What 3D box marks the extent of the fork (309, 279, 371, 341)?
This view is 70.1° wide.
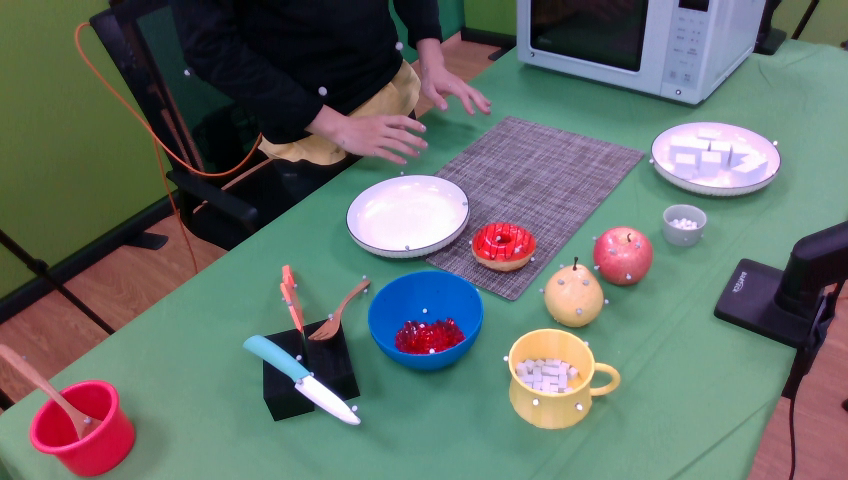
[{"bbox_3d":[-0.109,0.093,0.832,0.028,0.018,0.207,-4,19,15],"label":"fork"}]

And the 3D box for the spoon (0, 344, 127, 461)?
[{"bbox_3d":[-0.433,0.191,0.721,0.194,0.021,0.042,47,53,-6],"label":"spoon"}]

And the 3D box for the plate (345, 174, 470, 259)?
[{"bbox_3d":[-0.026,-0.037,1.004,0.209,0.038,0.208,-4,40,4],"label":"plate"}]

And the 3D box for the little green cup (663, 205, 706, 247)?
[{"bbox_3d":[0.396,-0.021,0.926,0.061,0.039,0.061,-4,40,4],"label":"little green cup"}]

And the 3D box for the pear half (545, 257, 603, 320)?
[{"bbox_3d":[0.197,0.056,0.811,0.076,0.110,0.055,-14,41,-13],"label":"pear half"}]

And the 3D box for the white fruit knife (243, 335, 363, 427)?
[{"bbox_3d":[-0.148,0.167,0.729,0.206,0.016,0.027,27,80,31],"label":"white fruit knife"}]

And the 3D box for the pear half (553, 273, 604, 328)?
[{"bbox_3d":[0.208,0.086,0.791,0.071,0.088,0.031,-14,39,-15],"label":"pear half"}]

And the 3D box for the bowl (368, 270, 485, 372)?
[{"bbox_3d":[0.007,0.118,0.791,0.151,0.077,0.150,-5,40,4],"label":"bowl"}]

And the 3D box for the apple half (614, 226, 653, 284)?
[{"bbox_3d":[0.298,0.023,0.864,0.053,0.075,0.080,-3,37,1],"label":"apple half"}]

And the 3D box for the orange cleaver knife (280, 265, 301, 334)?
[{"bbox_3d":[-0.188,0.081,0.862,0.012,0.077,0.210,-20,12,-9],"label":"orange cleaver knife"}]

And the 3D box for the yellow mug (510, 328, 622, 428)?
[{"bbox_3d":[0.168,0.164,0.722,0.130,0.064,0.099,0,40,8],"label":"yellow mug"}]

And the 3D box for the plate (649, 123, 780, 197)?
[{"bbox_3d":[0.497,-0.135,1.046,0.207,0.039,0.206,-4,40,4],"label":"plate"}]

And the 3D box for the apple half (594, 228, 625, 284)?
[{"bbox_3d":[0.259,0.026,0.864,0.033,0.081,0.081,-3,40,0],"label":"apple half"}]

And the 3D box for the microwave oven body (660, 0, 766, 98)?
[{"bbox_3d":[0.472,-0.513,1.317,0.438,0.261,0.327,26,51,34],"label":"microwave oven body"}]

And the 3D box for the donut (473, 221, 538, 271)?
[{"bbox_3d":[0.123,0.008,0.923,0.099,0.048,0.098,-4,38,3],"label":"donut"}]

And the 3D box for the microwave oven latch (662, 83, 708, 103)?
[{"bbox_3d":[0.517,-0.296,1.204,0.078,0.029,0.030,27,52,35],"label":"microwave oven latch"}]

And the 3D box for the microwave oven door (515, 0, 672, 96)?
[{"bbox_3d":[0.343,-0.454,1.259,0.353,0.245,0.039,26,51,33],"label":"microwave oven door"}]
